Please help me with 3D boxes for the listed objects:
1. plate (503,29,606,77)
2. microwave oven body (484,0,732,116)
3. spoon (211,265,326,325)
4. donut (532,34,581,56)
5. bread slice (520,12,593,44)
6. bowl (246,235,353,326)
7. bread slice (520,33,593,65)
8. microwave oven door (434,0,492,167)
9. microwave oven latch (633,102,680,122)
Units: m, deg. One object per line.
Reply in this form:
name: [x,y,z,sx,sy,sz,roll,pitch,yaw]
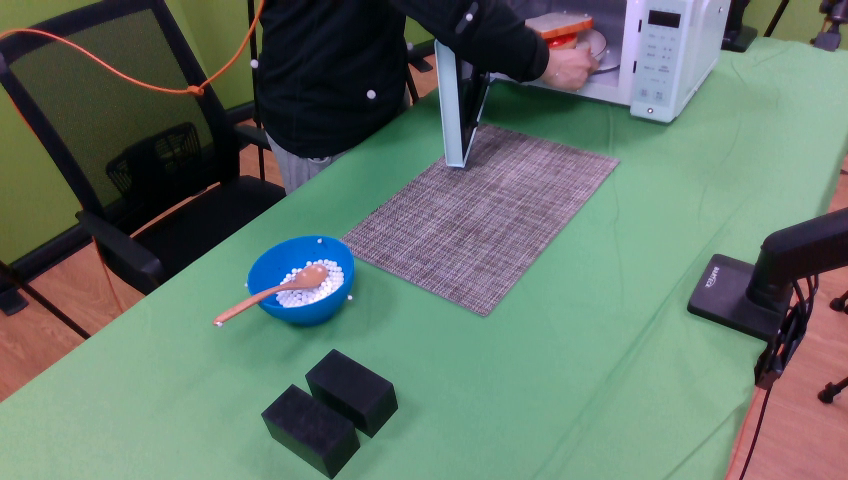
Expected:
plate: [0.268,-0.390,1.253,0.207,0.039,0.206,-4,42,4]
microwave oven body: [0.377,-0.463,1.267,0.438,0.261,0.327,21,48,30]
spoon: [-0.207,0.072,0.822,0.041,0.021,0.195,27,29,27]
donut: [0.269,-0.401,1.231,0.099,0.048,0.098,-4,26,3]
bread slice: [0.270,-0.433,1.222,0.132,0.019,0.104,-17,36,-6]
bowl: [-0.170,0.070,0.868,0.151,0.077,0.150,-4,41,4]
bread slice: [0.278,-0.400,1.250,0.135,0.018,0.106,-16,47,-15]
microwave oven door: [0.083,-0.339,1.159,0.039,0.245,0.355,4,42,14]
microwave oven latch: [0.443,-0.250,1.157,0.078,0.029,0.030,22,49,30]
